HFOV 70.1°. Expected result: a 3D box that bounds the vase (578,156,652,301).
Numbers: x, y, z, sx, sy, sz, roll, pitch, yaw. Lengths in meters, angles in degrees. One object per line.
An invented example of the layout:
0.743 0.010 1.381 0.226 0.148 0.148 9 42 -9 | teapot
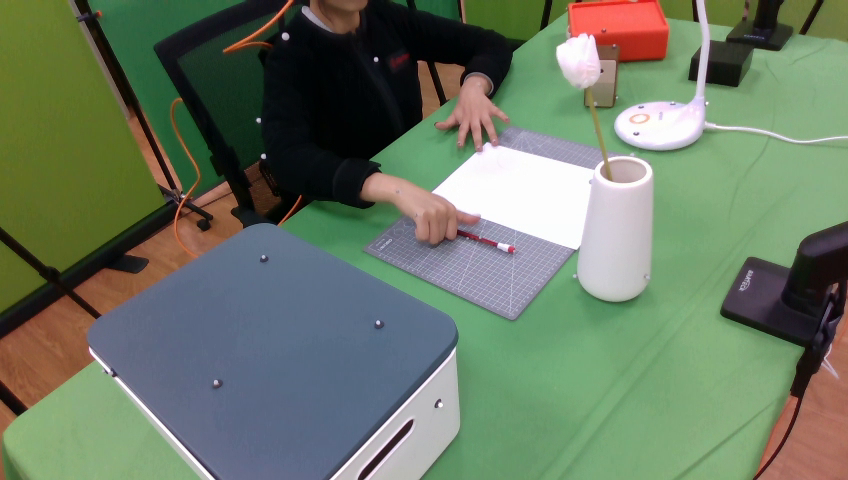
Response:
0.261 -0.011 0.812 0.098 0.201 0.097 -4 40 4 | vase

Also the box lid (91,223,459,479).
-0.174 0.103 0.667 0.368 0.015 0.264 24 48 35 | box lid

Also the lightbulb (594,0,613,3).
0.305 -0.438 0.978 0.060 0.107 0.059 13 43 -11 | lightbulb

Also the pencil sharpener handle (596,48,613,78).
0.382 -0.378 1.276 0.036 0.068 0.030 3 41 21 | pencil sharpener handle

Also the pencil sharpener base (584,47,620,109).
0.367 -0.336 1.248 0.061 0.107 0.076 6 42 19 | pencil sharpener base

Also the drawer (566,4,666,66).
0.447 -0.493 1.441 0.211 0.073 0.194 0 40 10 | drawer

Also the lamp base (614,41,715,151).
0.449 -0.277 1.106 0.179 0.181 0.160 1 41 9 | lamp base

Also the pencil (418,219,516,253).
0.066 -0.010 0.992 0.192 0.012 0.012 19 48 32 | pencil

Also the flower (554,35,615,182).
0.237 -0.083 0.774 0.044 0.363 0.038 -22 26 7 | flower

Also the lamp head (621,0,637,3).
0.319 -0.453 0.962 0.113 0.123 0.112 20 33 -13 | lamp head

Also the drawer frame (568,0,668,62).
0.450 -0.496 1.441 0.213 0.083 0.201 -1 40 9 | drawer frame

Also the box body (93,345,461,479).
-0.162 0.170 0.708 0.361 0.161 0.255 25 50 34 | box body
